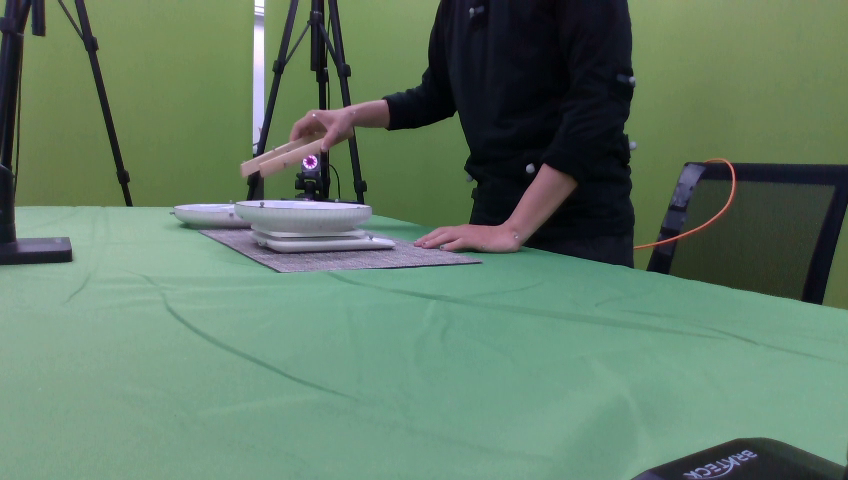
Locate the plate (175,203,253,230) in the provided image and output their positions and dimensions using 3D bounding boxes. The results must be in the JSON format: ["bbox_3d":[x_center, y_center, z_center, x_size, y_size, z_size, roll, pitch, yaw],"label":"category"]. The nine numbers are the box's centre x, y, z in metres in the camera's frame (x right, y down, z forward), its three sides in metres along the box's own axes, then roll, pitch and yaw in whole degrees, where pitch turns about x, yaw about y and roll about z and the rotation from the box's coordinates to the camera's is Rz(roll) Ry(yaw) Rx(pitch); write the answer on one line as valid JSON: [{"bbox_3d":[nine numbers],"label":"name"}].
[{"bbox_3d":[-0.381,-0.047,1.199,0.208,0.039,0.207,3,7,0],"label":"plate"}]

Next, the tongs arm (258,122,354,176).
[{"bbox_3d":[-0.230,-0.196,1.252,0.028,0.028,0.388,-4,20,23],"label":"tongs arm"}]

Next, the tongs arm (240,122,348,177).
[{"bbox_3d":[-0.255,-0.196,1.262,0.050,0.026,0.385,-2,21,19],"label":"tongs arm"}]

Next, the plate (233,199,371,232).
[{"bbox_3d":[-0.188,-0.039,0.939,0.209,0.038,0.209,2,7,0],"label":"plate"}]

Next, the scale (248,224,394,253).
[{"bbox_3d":[-0.162,-0.006,0.954,0.202,0.031,0.148,-2,8,-32],"label":"scale"}]
